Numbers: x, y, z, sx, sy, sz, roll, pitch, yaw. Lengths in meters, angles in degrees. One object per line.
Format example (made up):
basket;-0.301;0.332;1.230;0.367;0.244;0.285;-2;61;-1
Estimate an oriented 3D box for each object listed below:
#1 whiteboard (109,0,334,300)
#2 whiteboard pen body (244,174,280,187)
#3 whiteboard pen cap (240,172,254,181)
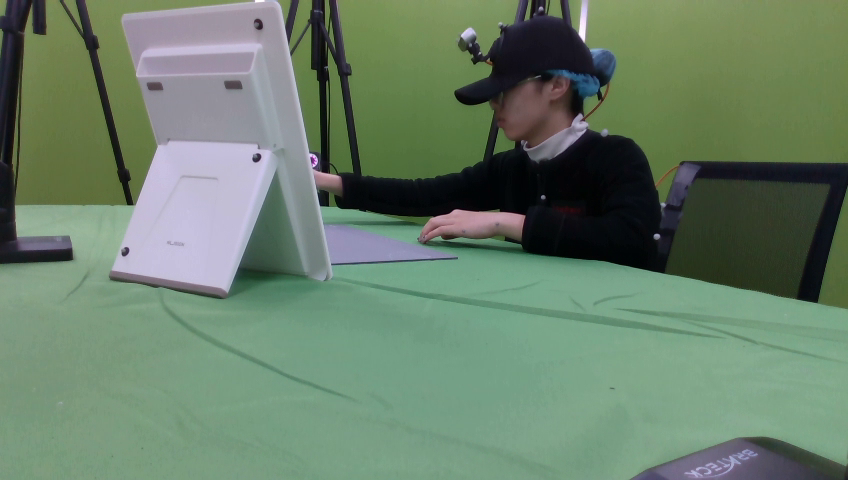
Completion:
whiteboard;-0.247;-0.072;0.625;0.216;0.305;0.144;6;28;26
whiteboard pen body;-0.344;-0.128;1.287;0.017;0.017;0.141;4;0;13
whiteboard pen cap;-0.359;-0.128;1.230;0.018;0.018;0.033;4;-2;14
